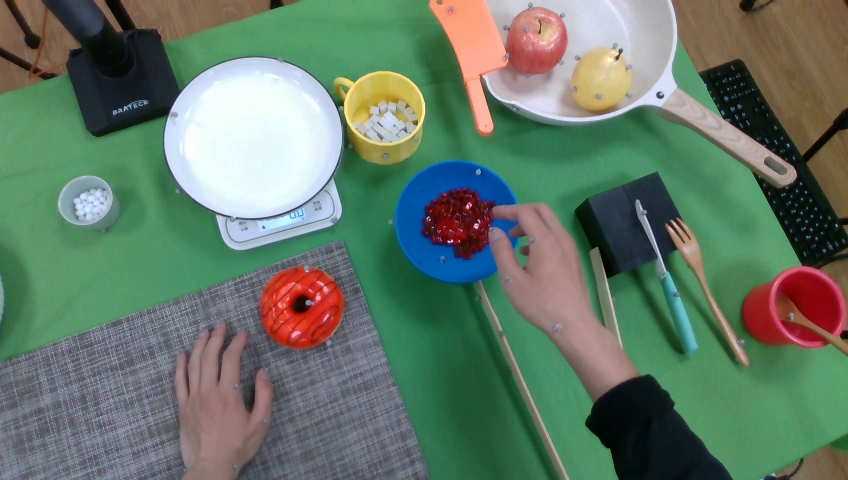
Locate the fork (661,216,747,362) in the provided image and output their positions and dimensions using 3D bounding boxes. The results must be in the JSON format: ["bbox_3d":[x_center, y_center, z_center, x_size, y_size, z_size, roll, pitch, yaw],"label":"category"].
[{"bbox_3d":[0.352,0.063,0.756,0.028,0.018,0.207,-31,96,-13],"label":"fork"}]

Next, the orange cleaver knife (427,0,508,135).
[{"bbox_3d":[0.064,-0.234,0.762,0.077,0.012,0.210,-16,79,-6],"label":"orange cleaver knife"}]

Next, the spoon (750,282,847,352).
[{"bbox_3d":[0.468,0.108,0.714,0.041,0.022,0.191,-26,36,-11],"label":"spoon"}]

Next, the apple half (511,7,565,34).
[{"bbox_3d":[0.153,-0.287,0.810,0.081,0.081,0.032,19,78,0],"label":"apple half"}]

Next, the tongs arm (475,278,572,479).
[{"bbox_3d":[0.157,0.214,0.717,0.051,0.026,0.383,-20,80,-14],"label":"tongs arm"}]

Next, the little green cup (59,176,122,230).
[{"bbox_3d":[-0.397,-0.042,0.726,0.061,0.039,0.061,1,76,-4],"label":"little green cup"}]

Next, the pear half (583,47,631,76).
[{"bbox_3d":[0.238,-0.236,0.799,0.070,0.088,0.031,9,75,3],"label":"pear half"}]

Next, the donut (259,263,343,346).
[{"bbox_3d":[-0.145,0.076,0.713,0.099,0.048,0.098,1,78,-3],"label":"donut"}]

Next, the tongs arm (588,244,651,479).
[{"bbox_3d":[0.238,0.193,0.734,0.028,0.028,0.385,-4,77,-15],"label":"tongs arm"}]

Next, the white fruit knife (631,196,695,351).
[{"bbox_3d":[0.293,0.043,0.747,0.016,0.027,0.207,-23,94,-9],"label":"white fruit knife"}]

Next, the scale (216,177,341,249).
[{"bbox_3d":[-0.199,-0.099,0.761,0.149,0.031,0.200,-16,79,-9],"label":"scale"}]

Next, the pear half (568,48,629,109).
[{"bbox_3d":[0.227,-0.206,0.780,0.076,0.110,0.055,14,76,2],"label":"pear half"}]

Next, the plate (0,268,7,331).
[{"bbox_3d":[-0.575,0.080,0.680,0.208,0.039,0.206,1,76,-5],"label":"plate"}]

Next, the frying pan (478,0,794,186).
[{"bbox_3d":[0.262,-0.220,0.794,0.485,0.103,0.306,39,77,13],"label":"frying pan"}]

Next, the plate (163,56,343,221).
[{"bbox_3d":[-0.202,-0.120,0.732,0.209,0.038,0.208,1,76,-5],"label":"plate"}]

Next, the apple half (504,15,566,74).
[{"bbox_3d":[0.141,-0.251,0.802,0.081,0.075,0.053,20,78,-3],"label":"apple half"}]

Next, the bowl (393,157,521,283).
[{"bbox_3d":[0.036,-0.016,0.739,0.151,0.077,0.150,1,77,-5],"label":"bowl"}]

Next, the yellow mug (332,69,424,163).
[{"bbox_3d":[-0.064,-0.165,0.771,0.130,0.064,0.100,35,77,5],"label":"yellow mug"}]
